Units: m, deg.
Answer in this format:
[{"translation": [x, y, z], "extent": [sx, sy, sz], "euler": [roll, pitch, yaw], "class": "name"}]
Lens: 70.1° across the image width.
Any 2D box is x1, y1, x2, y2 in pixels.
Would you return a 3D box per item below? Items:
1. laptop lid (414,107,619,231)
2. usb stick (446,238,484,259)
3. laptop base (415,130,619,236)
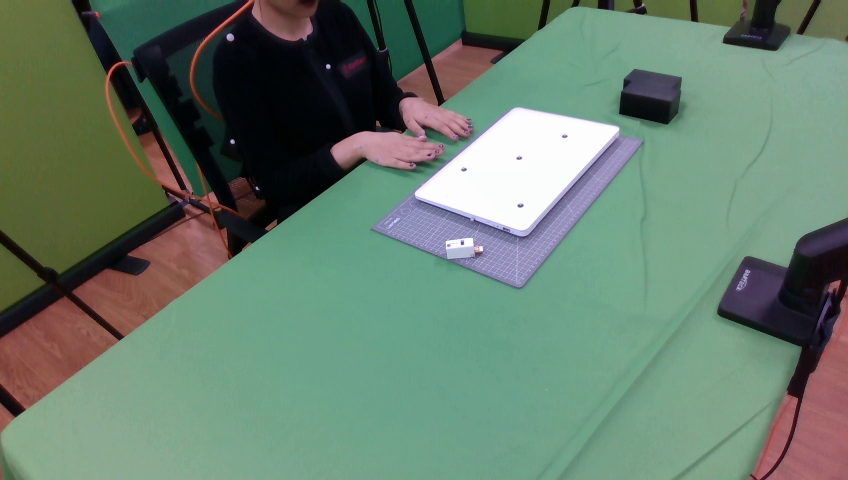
[{"translation": [0.174, -0.147, 1.106], "extent": [0.239, 0.013, 0.358], "euler": [22, 49, 34], "class": "laptop lid"}, {"translation": [0.064, 0.013, 0.946], "extent": [0.059, 0.027, 0.021], "euler": [-4, 41, 3], "class": "usb stick"}, {"translation": [0.178, -0.137, 1.112], "extent": [0.233, 0.023, 0.355], "euler": [19, 48, 34], "class": "laptop base"}]
